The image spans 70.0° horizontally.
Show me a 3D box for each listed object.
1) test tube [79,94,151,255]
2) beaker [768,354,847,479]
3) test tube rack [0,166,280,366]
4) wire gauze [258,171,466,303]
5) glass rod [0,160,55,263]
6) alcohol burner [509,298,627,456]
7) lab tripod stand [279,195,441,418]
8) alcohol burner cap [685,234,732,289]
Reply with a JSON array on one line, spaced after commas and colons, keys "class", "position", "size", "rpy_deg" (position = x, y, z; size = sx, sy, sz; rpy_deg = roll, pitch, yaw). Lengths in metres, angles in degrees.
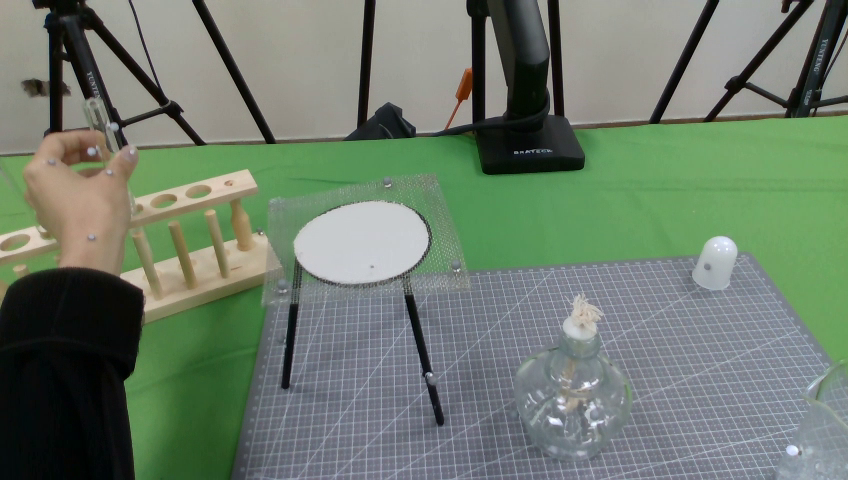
[{"class": "test tube", "position": [-0.255, -0.048, 0.506], "size": [0.017, 0.151, 0.017], "rpy_deg": [-1, 36, 1]}, {"class": "beaker", "position": [0.249, 0.125, 0.352], "size": [0.083, 0.101, 0.073], "rpy_deg": [10, 40, 16]}, {"class": "test tube rack", "position": [-0.258, 0.017, 0.526], "size": [0.243, 0.086, 0.066], "rpy_deg": [-19, 41, -20]}, {"class": "wire gauze", "position": [-0.044, -0.005, 0.393], "size": [0.125, 0.011, 0.120], "rpy_deg": [-8, 39, -6]}, {"class": "glass rod", "position": [-0.313, -0.025, 0.474], "size": [0.008, 0.201, 0.008], "rpy_deg": [-3, 41, 3]}, {"class": "alcohol burner", "position": [0.095, 0.086, 0.397], "size": [0.078, 0.120, 0.077], "rpy_deg": [-2, 37, 2]}, {"class": "lab tripod stand", "position": [-0.042, 0.047, 0.435], "size": [0.148, 0.133, 0.147], "rpy_deg": [-2, 40, 2]}, {"class": "alcohol burner cap", "position": [0.253, 0.016, 0.536], "size": [0.034, 0.048, 0.033], "rpy_deg": [-1, 39, 1]}]
